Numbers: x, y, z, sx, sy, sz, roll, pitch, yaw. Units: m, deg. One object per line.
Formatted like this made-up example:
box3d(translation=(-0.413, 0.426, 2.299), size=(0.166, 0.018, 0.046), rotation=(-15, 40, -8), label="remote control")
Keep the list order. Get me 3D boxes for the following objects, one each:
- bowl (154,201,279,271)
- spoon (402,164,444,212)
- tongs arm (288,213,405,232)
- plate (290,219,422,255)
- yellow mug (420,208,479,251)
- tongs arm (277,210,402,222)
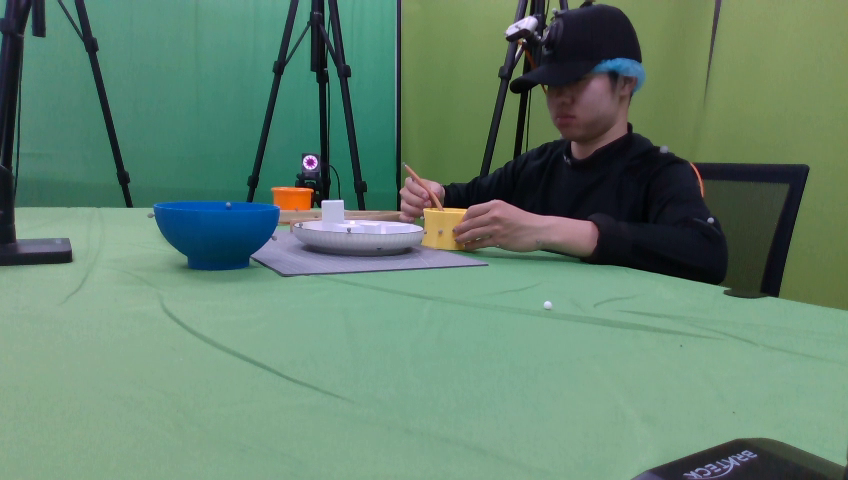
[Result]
box3d(translation=(-0.263, -0.005, 0.773), size=(0.151, 0.077, 0.151), rotation=(3, 8, 0), label="bowl")
box3d(translation=(0.017, -0.070, 1.074), size=(0.193, 0.021, 0.042), rotation=(56, 13, 25), label="spoon")
box3d(translation=(-0.146, -0.039, 1.281), size=(0.028, 0.028, 0.389), rotation=(3, 5, 33), label="tongs arm")
box3d(translation=(-0.108, -0.005, 0.963), size=(0.208, 0.039, 0.207), rotation=(3, 7, 0), label="plate")
box3d(translation=(0.052, -0.019, 1.039), size=(0.100, 0.064, 0.130), rotation=(-1, 8, -30), label="yellow mug")
box3d(translation=(-0.207, -0.051, 1.333), size=(0.387, 0.026, 0.050), rotation=(-2, 8, -44), label="tongs arm")
